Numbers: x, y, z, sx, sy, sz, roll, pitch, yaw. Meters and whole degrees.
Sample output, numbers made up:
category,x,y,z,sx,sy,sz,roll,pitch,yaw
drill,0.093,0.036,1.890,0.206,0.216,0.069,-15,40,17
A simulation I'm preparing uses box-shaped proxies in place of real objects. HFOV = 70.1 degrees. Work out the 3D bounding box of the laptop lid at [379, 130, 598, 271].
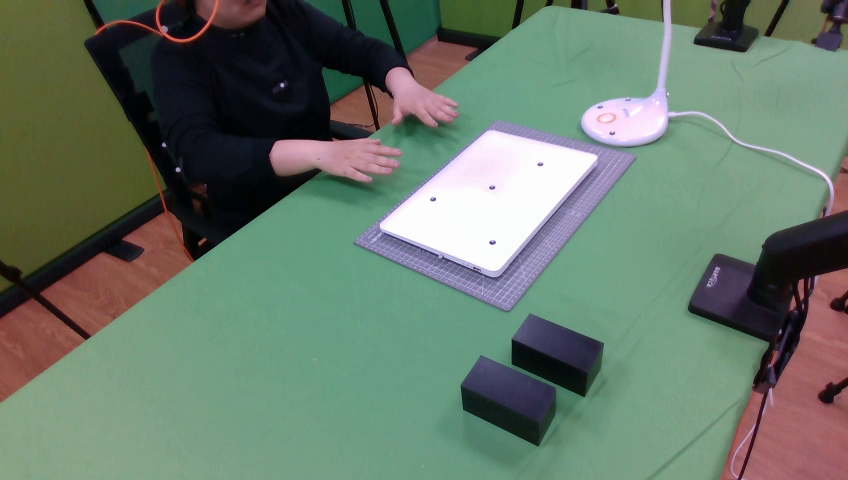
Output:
category,x,y,z,sx,sy,sz,roll,pitch,yaw
laptop lid,0.117,-0.087,1.037,0.240,0.013,0.358,22,48,33

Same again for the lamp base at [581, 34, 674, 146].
category,x,y,z,sx,sy,sz,roll,pitch,yaw
lamp base,0.392,-0.291,1.129,0.180,0.181,0.159,-11,41,-8

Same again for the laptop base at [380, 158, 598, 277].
category,x,y,z,sx,sy,sz,roll,pitch,yaw
laptop base,0.120,-0.077,1.043,0.233,0.023,0.355,20,47,32
